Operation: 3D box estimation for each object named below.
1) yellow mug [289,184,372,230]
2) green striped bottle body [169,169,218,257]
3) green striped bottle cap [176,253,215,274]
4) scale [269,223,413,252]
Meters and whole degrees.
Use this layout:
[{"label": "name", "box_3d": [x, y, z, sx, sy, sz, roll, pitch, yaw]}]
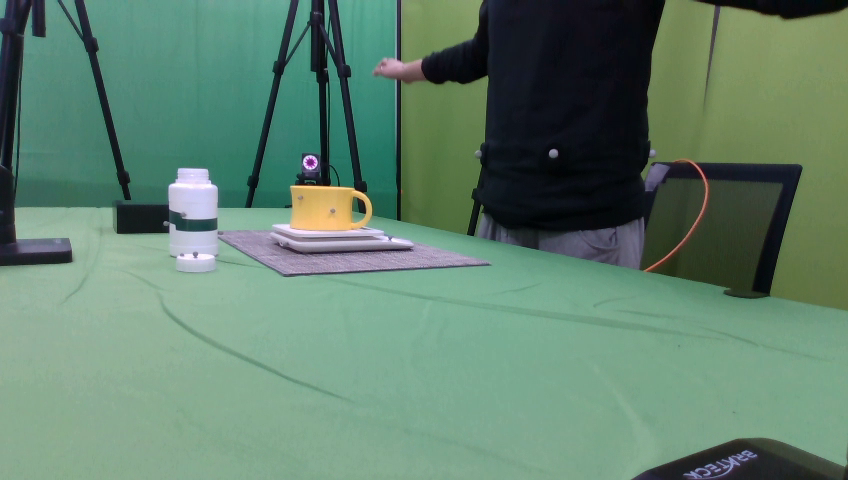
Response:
[{"label": "yellow mug", "box_3d": [-0.145, -0.052, 0.944, 0.131, 0.064, 0.100, 4, 7, 9]}, {"label": "green striped bottle body", "box_3d": [-0.318, -0.038, 0.836, 0.063, 0.119, 0.063, 2, 7, 0]}, {"label": "green striped bottle cap", "box_3d": [-0.279, 0.028, 0.741, 0.044, 0.020, 0.044, 5, 5, 0]}, {"label": "scale", "box_3d": [-0.132, -0.007, 0.965, 0.202, 0.031, 0.148, -2, 8, -31]}]
